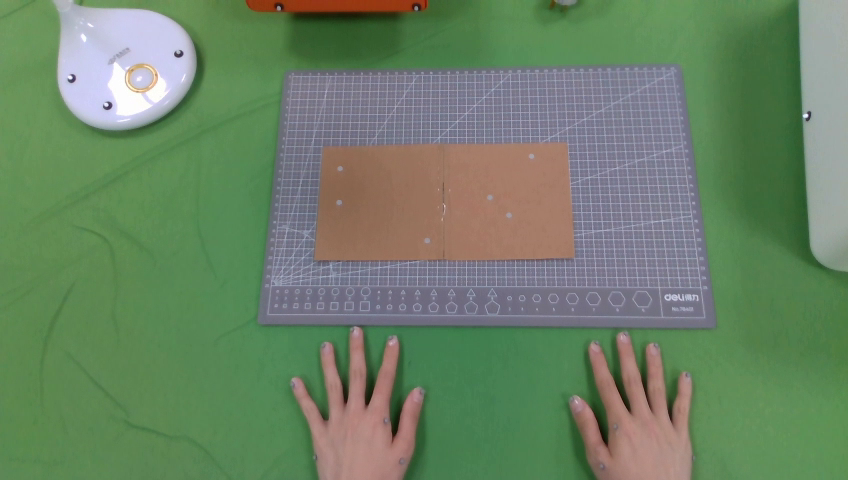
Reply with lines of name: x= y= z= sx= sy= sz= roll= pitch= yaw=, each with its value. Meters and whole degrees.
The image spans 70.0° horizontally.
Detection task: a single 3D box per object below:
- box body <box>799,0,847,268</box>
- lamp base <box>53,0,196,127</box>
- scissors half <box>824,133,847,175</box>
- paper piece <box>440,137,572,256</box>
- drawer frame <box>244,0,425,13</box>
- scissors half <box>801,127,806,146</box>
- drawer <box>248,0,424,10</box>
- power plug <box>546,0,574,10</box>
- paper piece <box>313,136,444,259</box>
box body: x=0.514 y=-0.145 z=0.566 sx=0.254 sy=0.161 sz=0.362 roll=7 pitch=72 yaw=6
lamp base: x=-0.361 y=-0.235 z=0.636 sx=0.178 sy=0.181 sz=0.160 roll=32 pitch=75 yaw=16
scissors half: x=0.477 y=-0.128 z=0.636 sx=0.040 sy=0.013 sz=0.175 roll=42 pitch=75 yaw=6
paper piece: x=0.085 y=-0.047 z=0.635 sx=0.135 sy=0.004 sz=0.135 roll=1 pitch=71 yaw=4
drawer frame: x=-0.095 y=-0.362 z=0.671 sx=0.201 sy=0.083 sz=0.212 roll=1 pitch=70 yaw=4
scissors half: x=0.465 y=-0.143 z=0.641 sx=0.175 sy=0.013 sz=0.040 roll=-29 pitch=74 yaw=-12
drawer: x=-0.094 y=-0.360 z=0.670 sx=0.194 sy=0.074 sz=0.210 roll=1 pitch=70 yaw=4
power plug: x=0.176 y=-0.288 z=0.700 sx=0.073 sy=0.053 sz=0.035 roll=-1 pitch=66 yaw=-18
paper piece: x=-0.047 y=-0.045 z=0.643 sx=0.136 sy=0.009 sz=0.137 roll=-1 pitch=72 yaw=6
